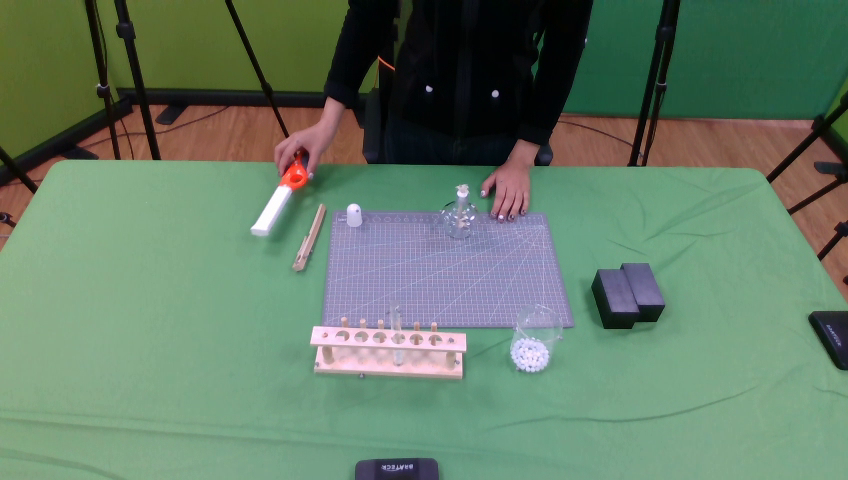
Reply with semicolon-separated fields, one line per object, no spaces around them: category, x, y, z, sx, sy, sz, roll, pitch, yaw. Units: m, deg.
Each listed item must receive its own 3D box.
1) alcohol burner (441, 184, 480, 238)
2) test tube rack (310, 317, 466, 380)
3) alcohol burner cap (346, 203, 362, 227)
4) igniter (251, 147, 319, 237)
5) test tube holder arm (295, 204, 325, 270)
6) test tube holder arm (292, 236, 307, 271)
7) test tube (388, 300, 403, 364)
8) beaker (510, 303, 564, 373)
alcohol burner;0.073;-0.061;1.195;0.078;0.120;0.077;1;47;-1
test tube rack;-0.056;0.171;0.987;0.242;0.085;0.066;3;45;-1
alcohol burner cap;-0.141;-0.053;1.222;0.034;0.048;0.033;2;47;-2
igniter;-0.282;-0.107;1.244;0.057;0.025;0.275;9;46;11
test tube holder arm;-0.223;-0.009;1.192;0.013;0.015;0.177;-19;37;27
test tube holder arm;-0.234;0.024;1.163;0.010;0.015;0.087;-18;38;28
test tube;-0.044;0.146;0.942;0.017;0.151;0.017;-1;44;1
beaker;0.182;0.164;1.000;0.074;0.101;0.083;2;46;-1
